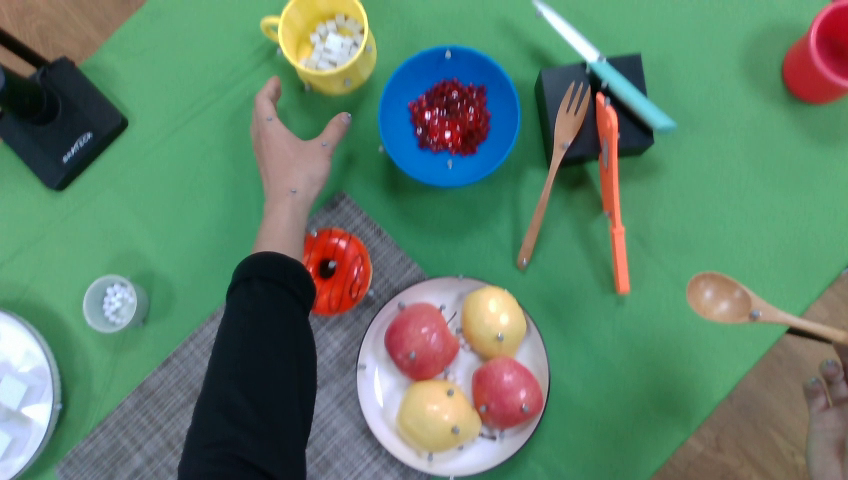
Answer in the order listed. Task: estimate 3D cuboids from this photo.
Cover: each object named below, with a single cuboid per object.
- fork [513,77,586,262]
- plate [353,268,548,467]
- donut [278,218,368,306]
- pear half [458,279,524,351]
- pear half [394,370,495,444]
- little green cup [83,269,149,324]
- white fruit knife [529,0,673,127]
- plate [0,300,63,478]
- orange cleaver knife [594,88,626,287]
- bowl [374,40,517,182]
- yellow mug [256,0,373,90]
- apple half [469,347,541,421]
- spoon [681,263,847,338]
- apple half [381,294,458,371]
[{"bbox_3d":[0.131,-0.071,0.652,0.028,0.018,0.208,14,105,-5],"label":"fork"},{"bbox_3d":[0.029,0.134,0.657,0.209,0.038,0.208,0,84,2],"label":"plate"},{"bbox_3d":[-0.111,0.025,0.669,0.099,0.048,0.099,0,85,3],"label":"donut"},{"bbox_3d":[0.069,0.087,0.645,0.070,0.031,0.088,-15,94,24],"label":"pear half"},{"bbox_3d":[0.025,0.182,0.638,0.110,0.056,0.076,18,90,0],"label":"pear half"},{"bbox_3d":[-0.344,0.064,0.683,0.061,0.039,0.061,0,84,3],"label":"little green cup"},{"bbox_3d":[0.183,-0.193,0.648,0.207,0.016,0.027,46,59,8],"label":"white fruit knife"},{"bbox_3d":[-0.503,0.167,0.679,0.207,0.039,0.207,0,84,2],"label":"plate"},{"bbox_3d":[0.198,-0.055,0.650,0.012,0.077,0.212,-9,110,6],"label":"orange cleaver knife"},{"bbox_3d":[0.024,-0.131,0.667,0.151,0.077,0.151,0,85,2],"label":"bowl"},{"bbox_3d":[-0.127,-0.233,0.688,0.131,0.064,0.100,13,85,5],"label":"yellow mug"},{"bbox_3d":[0.078,0.155,0.635,0.081,0.033,0.081,3,99,21],"label":"apple half"},{"bbox_3d":[0.307,0.064,0.488,0.192,0.022,0.041,20,77,22],"label":"spoon"},{"bbox_3d":[-0.006,0.101,0.644,0.074,0.053,0.080,-27,87,0],"label":"apple half"}]
